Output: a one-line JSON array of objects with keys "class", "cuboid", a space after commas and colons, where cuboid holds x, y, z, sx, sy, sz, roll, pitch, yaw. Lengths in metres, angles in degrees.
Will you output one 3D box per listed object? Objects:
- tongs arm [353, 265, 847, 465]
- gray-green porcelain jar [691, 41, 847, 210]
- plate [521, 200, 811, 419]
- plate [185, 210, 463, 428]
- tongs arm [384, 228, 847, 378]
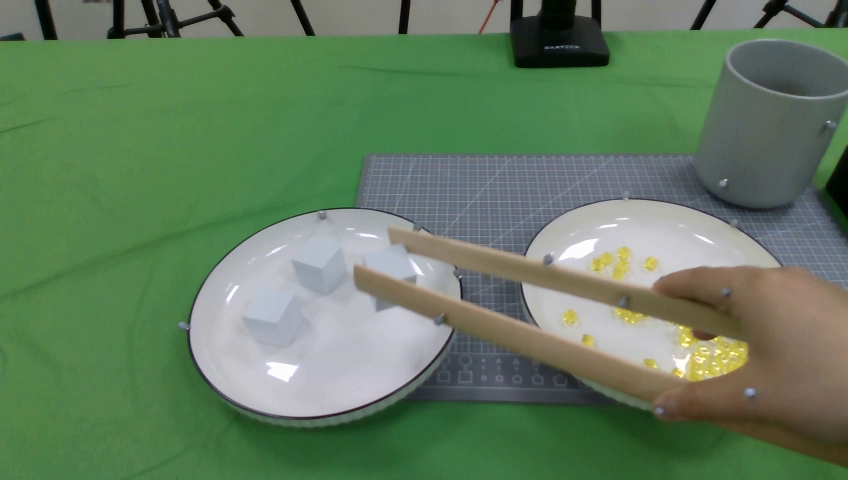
[{"class": "tongs arm", "cuboid": [0.127, 0.072, 0.337, 0.385, 0.028, 0.028, 15, 41, 21]}, {"class": "gray-green porcelain jar", "cuboid": [0.310, -0.099, 0.554, 0.106, 0.127, 0.105, -1, 44, 2]}, {"class": "plate", "cuboid": [0.179, 0.050, 0.471, 0.207, 0.039, 0.205, -1, 44, 1]}, {"class": "plate", "cuboid": [-0.074, 0.057, 0.474, 0.209, 0.038, 0.207, -2, 44, 2]}, {"class": "tongs arm", "cuboid": [0.140, 0.055, 0.355, 0.383, 0.027, 0.050, 13, 44, 19]}]
